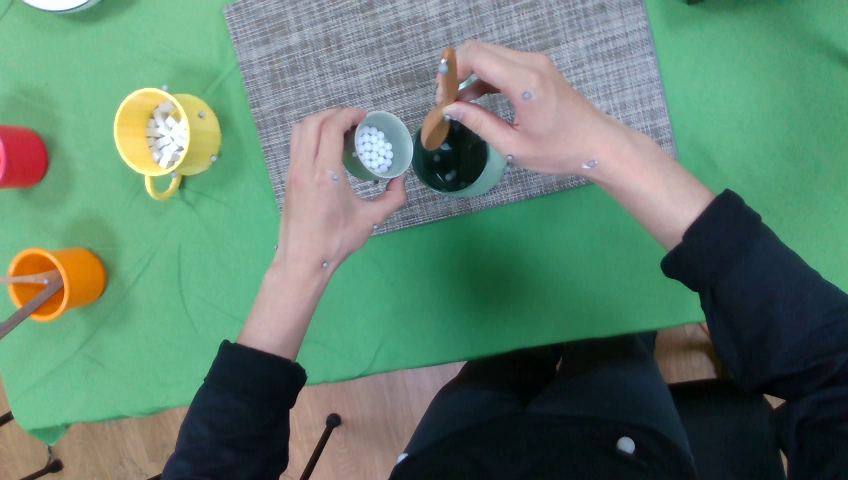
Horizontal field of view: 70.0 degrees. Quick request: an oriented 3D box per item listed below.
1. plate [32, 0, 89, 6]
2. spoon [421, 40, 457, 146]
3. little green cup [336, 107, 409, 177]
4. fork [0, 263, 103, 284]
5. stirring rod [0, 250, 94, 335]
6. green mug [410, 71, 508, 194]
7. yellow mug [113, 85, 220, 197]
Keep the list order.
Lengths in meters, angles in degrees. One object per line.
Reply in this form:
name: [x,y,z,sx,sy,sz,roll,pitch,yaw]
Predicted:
plate: [-0.434,-0.387,0.727,0.207,0.039,0.208,2,99,13]
spoon: [0.015,-0.108,0.458,0.021,0.194,0.041,34,85,-1]
little green cup: [-0.049,-0.087,0.555,0.038,0.062,0.061,-12,96,57]
fork: [-0.516,0.044,0.749,0.208,0.018,0.028,-1,97,-31]
stirring rod: [-0.486,0.075,0.753,0.014,0.006,0.175,38,62,4]
green mug: [0.037,-0.109,0.621,0.092,0.105,0.125,4,98,13]
yellow mug: [-0.307,-0.115,0.722,0.099,0.064,0.131,13,102,10]
